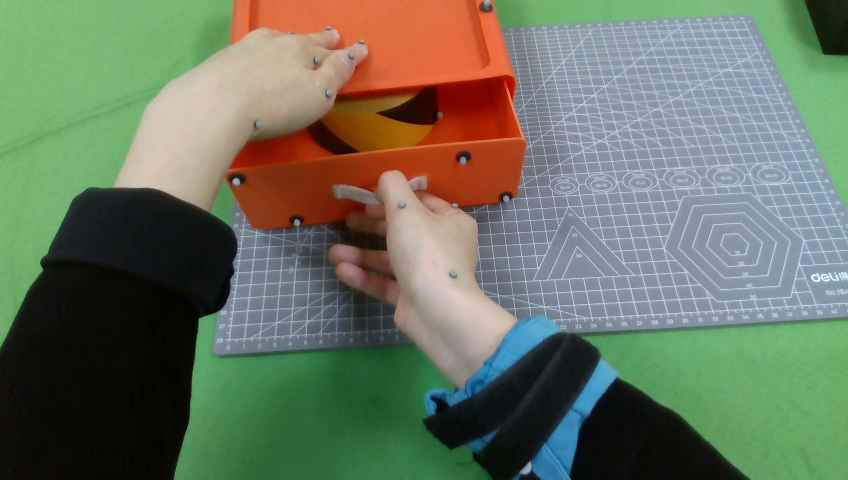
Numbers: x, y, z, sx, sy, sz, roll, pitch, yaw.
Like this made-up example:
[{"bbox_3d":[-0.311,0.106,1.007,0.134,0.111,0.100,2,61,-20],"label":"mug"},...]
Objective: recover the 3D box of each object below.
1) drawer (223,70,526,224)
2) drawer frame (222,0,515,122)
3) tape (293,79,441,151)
[{"bbox_3d":[-0.041,-0.124,0.459,0.194,0.074,0.209,-7,60,-2],"label":"drawer"},{"bbox_3d":[-0.048,-0.171,0.488,0.202,0.083,0.211,-8,59,-3],"label":"drawer frame"},{"bbox_3d":[-0.044,-0.124,0.468,0.117,0.053,0.116,0,61,1],"label":"tape"}]
